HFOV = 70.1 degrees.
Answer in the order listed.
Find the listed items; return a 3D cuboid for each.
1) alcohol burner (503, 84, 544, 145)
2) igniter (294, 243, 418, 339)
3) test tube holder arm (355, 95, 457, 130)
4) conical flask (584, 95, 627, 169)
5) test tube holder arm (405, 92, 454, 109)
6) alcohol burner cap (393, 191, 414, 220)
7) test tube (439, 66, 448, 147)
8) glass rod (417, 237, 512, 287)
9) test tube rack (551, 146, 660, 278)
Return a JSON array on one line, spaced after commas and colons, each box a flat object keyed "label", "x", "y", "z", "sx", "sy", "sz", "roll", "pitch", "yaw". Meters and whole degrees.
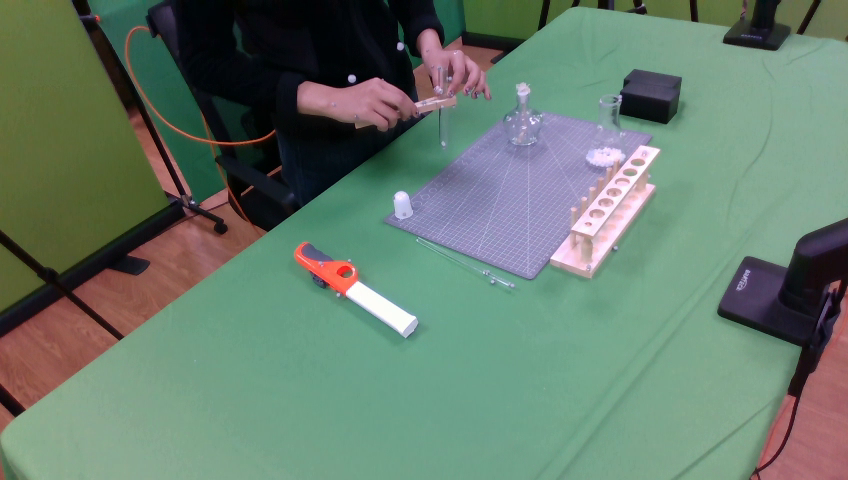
[{"label": "alcohol burner", "x": 0.191, "y": -0.244, "z": 1.160, "sx": 0.078, "sy": 0.119, "sz": 0.077, "roll": -4, "pitch": 40, "yaw": 4}, {"label": "igniter", "x": -0.114, "y": 0.070, "z": 0.919, "sx": 0.274, "sy": 0.025, "sz": 0.057, "roll": 30, "pitch": 64, "yaw": 37}, {"label": "test tube holder arm", "x": -0.030, "y": -0.216, "z": 1.023, "sx": 0.179, "sy": 0.015, "sz": 0.013, "roll": -17, "pitch": 38, "yaw": -8}, {"label": "conical flask", "x": 0.323, "y": -0.192, "z": 1.066, "sx": 0.075, "sy": 0.122, "sz": 0.075, "roll": -6, "pitch": 40, "yaw": 5}, {"label": "test tube holder arm", "x": 0.010, "y": -0.233, "z": 1.035, "sx": 0.088, "sy": 0.015, "sz": 0.010, "roll": -22, "pitch": 39, "yaw": -14}, {"label": "alcohol burner cap", "x": -0.037, "y": -0.062, "z": 1.045, "sx": 0.034, "sy": 0.048, "sz": 0.033, "roll": -5, "pitch": 40, "yaw": 5}, {"label": "test tube", "x": 0.034, "y": -0.228, "z": 1.045, "sx": 0.017, "sy": 0.151, "sz": 0.017, "roll": -1, "pitch": 40, "yaw": 1}, {"label": "glass rod", "x": 0.059, "y": 0.033, "z": 0.945, "sx": 0.198, "sy": 0.008, "sz": 0.008, "roll": 26, "pitch": 52, "yaw": 38}, {"label": "test tube rack", "x": 0.286, "y": -0.053, "z": 0.943, "sx": 0.066, "sy": 0.085, "sz": 0.243, "roll": 21, "pitch": 49, "yaw": 32}]
